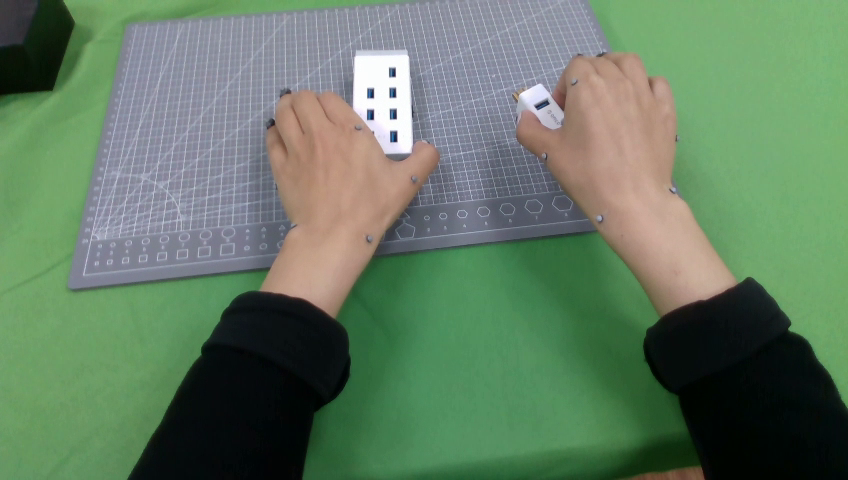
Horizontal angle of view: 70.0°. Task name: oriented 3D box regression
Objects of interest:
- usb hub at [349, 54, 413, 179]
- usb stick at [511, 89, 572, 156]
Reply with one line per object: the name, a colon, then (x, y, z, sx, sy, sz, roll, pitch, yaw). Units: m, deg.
usb hub: (-0.036, -0.105, 0.503, 0.049, 0.025, 0.124, -3, 55, -1)
usb stick: (0.087, -0.095, 0.465, 0.021, 0.027, 0.058, -30, 65, -8)
